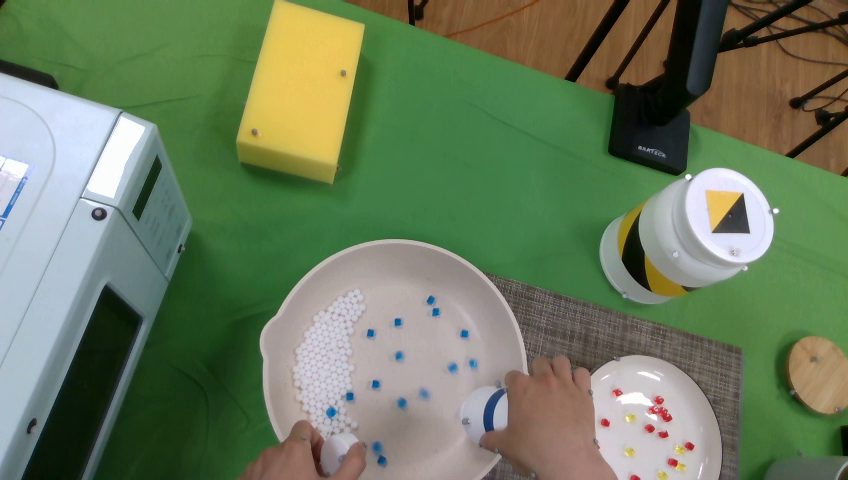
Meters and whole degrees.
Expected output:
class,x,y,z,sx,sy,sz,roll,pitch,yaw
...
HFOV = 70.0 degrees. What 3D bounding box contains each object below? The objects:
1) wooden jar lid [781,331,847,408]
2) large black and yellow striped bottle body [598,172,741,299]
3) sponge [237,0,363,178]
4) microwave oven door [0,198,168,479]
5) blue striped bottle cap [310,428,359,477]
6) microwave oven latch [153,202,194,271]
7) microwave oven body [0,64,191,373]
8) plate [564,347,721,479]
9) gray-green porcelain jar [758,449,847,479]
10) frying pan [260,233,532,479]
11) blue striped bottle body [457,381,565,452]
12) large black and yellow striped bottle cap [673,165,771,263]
class,x,y,z,sx,sy,sz,roll,pitch,yaw
wooden jar lid,0.551,0.182,0.853,0.109,0.021,0.108,4,74,-12
large black and yellow striped bottle body,0.319,-0.006,0.765,0.131,0.184,0.130,4,72,-12
sponge,-0.154,-0.195,0.768,0.118,0.061,0.205,12,72,-11
microwave oven door,-0.313,0.163,0.506,0.039,0.244,0.354,17,70,-8
blue striped bottle cap,-0.085,0.202,0.577,0.044,0.021,0.044,-8,66,19
microwave oven latch,-0.282,-0.007,0.674,0.030,0.029,0.079,19,71,-8
microwave oven body,-0.442,0.083,0.504,0.327,0.260,0.439,17,71,-9
plate,0.267,0.240,0.752,0.210,0.038,0.208,4,73,-12
gray-green porcelain jar,0.490,0.312,0.742,0.106,0.127,0.105,4,72,-13
frying pan,-0.050,0.230,0.642,0.307,0.103,0.484,15,62,-7
blue striped bottle body,0.083,0.179,0.626,0.063,0.120,0.063,6,79,-30
large black and yellow striped bottle cap,0.338,-0.031,0.685,0.115,0.019,0.114,4,71,-12
